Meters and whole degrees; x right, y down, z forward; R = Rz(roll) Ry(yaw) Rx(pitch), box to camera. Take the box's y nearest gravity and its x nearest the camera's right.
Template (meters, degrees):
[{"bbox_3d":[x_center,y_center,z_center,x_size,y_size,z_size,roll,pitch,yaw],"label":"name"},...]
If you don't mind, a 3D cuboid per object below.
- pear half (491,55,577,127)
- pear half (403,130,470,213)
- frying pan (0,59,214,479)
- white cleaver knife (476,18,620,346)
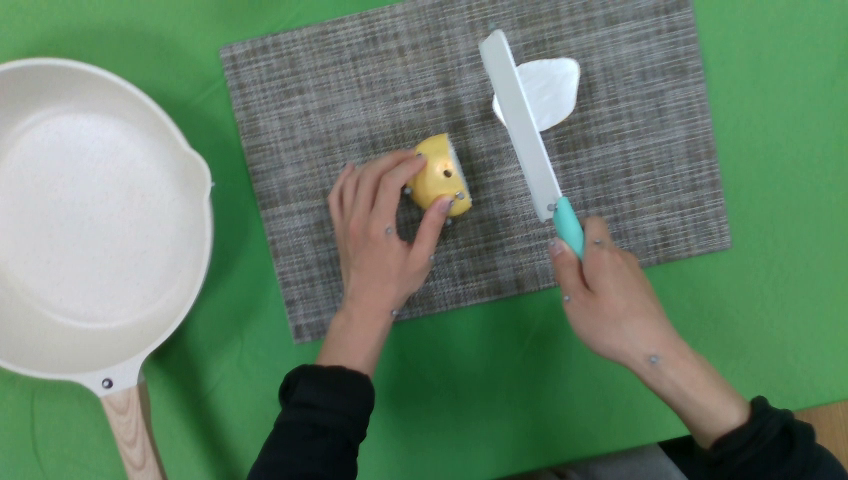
[{"bbox_3d":[0.106,-0.137,0.572,0.088,0.031,0.070,-38,77,-8],"label":"pear half"},{"bbox_3d":[0.008,-0.058,0.547,0.056,0.110,0.076,-26,91,5],"label":"pear half"},{"bbox_3d":[-0.306,0.080,0.578,0.307,0.103,0.487,-18,88,4],"label":"frying pan"},{"bbox_3d":[0.103,-0.047,0.510,0.021,0.066,0.286,-20,90,-10],"label":"white cleaver knife"}]
